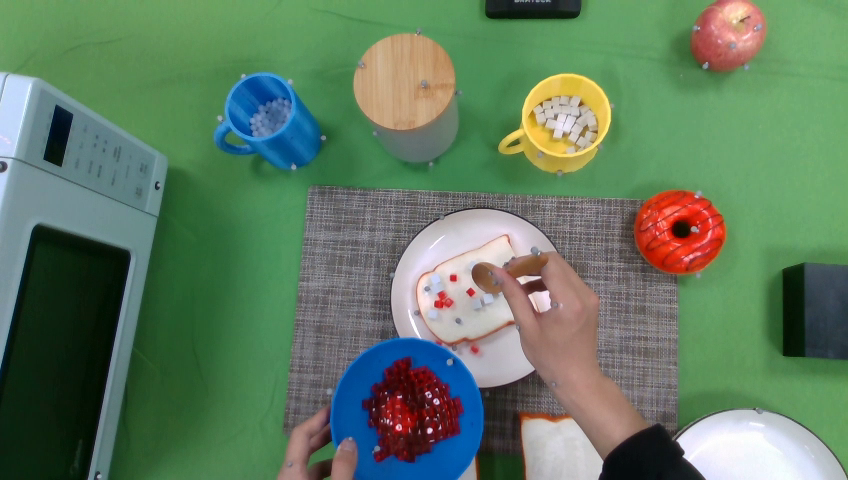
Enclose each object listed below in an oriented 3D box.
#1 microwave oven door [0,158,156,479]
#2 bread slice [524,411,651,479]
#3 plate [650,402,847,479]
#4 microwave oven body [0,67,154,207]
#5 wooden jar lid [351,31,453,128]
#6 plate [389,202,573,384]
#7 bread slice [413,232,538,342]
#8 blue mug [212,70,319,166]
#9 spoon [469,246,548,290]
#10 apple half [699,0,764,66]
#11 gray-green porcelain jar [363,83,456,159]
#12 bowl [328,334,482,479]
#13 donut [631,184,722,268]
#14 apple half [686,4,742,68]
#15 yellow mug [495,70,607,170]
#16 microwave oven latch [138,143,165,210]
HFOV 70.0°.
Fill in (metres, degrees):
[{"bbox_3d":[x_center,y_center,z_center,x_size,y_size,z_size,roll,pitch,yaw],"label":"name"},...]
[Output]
[{"bbox_3d":[-0.383,0.119,0.618,0.039,0.245,0.354,6,81,7],"label":"microwave oven door"},{"bbox_3d":[0.176,0.238,0.640,0.135,0.018,0.106,-1,77,-15],"label":"bread slice"},{"bbox_3d":[0.341,0.277,0.644,0.209,0.038,0.208,-1,80,6],"label":"plate"},{"bbox_3d":[-0.521,0.063,0.646,0.325,0.261,0.440,6,82,6],"label":"microwave oven body"},{"bbox_3d":[-0.023,-0.168,0.643,0.108,0.021,0.108,-1,79,6],"label":"wooden jar lid"},{"bbox_3d":[0.065,0.060,0.702,0.207,0.039,0.207,-1,81,6],"label":"plate"},{"bbox_3d":[0.055,0.061,0.706,0.131,0.019,0.104,-23,78,-2],"label":"bread slice"},{"bbox_3d":[-0.195,-0.137,0.729,0.116,0.106,0.082,-22,79,2],"label":"blue mug"},{"bbox_3d":[0.078,0.028,0.576,0.021,0.194,0.041,-41,90,-11],"label":"spoon"},{"bbox_3d":[0.361,-0.248,0.709,0.053,0.075,0.080,-29,75,-5],"label":"apple half"},{"bbox_3d":[-0.016,-0.157,0.705,0.106,0.127,0.105,-1,80,6],"label":"gray-green porcelain jar"},{"bbox_3d":[-0.023,0.176,0.615,0.152,0.077,0.150,4,71,-11],"label":"bowl"},{"bbox_3d":[0.286,-0.016,0.689,0.099,0.048,0.098,-1,82,5],"label":"donut"},{"bbox_3d":[0.328,-0.229,0.707,0.033,0.081,0.081,-30,79,-5],"label":"apple half"},{"bbox_3d":[0.146,-0.134,0.715,0.131,0.064,0.099,-21,79,2],"label":"yellow mug"},{"bbox_3d":[-0.343,-0.079,0.750,0.030,0.029,0.079,8,82,7],"label":"microwave oven latch"}]
